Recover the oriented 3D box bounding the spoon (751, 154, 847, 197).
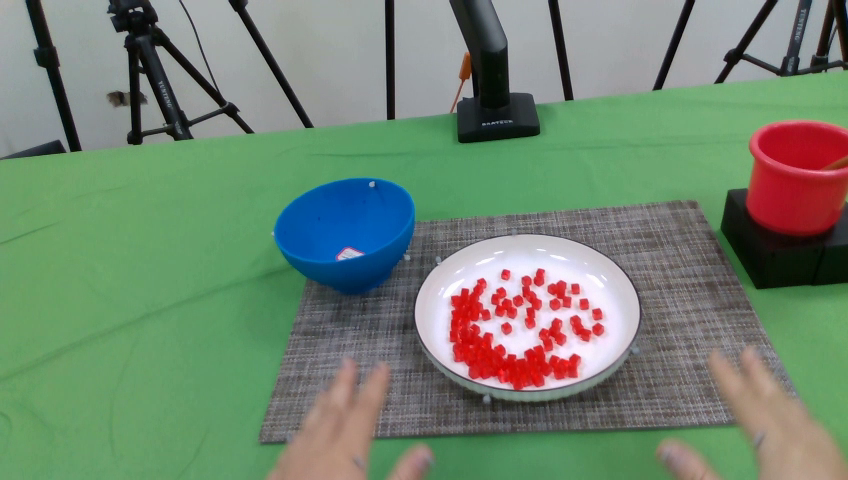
[{"bbox_3d":[0.369,-0.067,0.526,0.041,0.193,0.021,-26,87,-21],"label":"spoon"}]

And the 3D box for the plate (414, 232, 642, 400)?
[{"bbox_3d":[0.095,0.070,0.573,0.207,0.039,0.205,-6,38,5],"label":"plate"}]

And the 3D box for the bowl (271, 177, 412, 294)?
[{"bbox_3d":[-0.081,0.005,0.657,0.151,0.077,0.150,-6,38,5],"label":"bowl"}]
